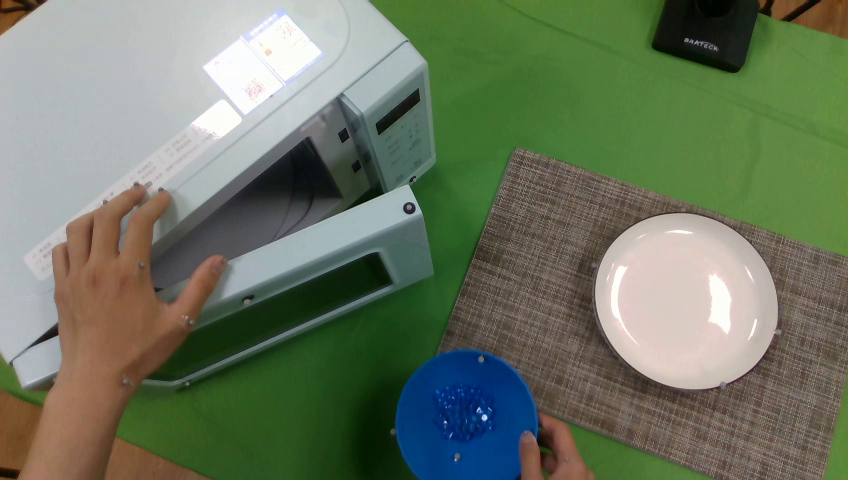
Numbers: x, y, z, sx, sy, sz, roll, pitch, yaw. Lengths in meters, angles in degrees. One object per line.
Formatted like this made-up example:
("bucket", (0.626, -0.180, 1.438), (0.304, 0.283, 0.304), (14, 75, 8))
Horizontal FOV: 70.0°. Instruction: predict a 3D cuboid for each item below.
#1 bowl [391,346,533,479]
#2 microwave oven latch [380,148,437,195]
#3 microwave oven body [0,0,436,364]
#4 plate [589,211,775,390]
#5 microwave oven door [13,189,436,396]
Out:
("bowl", (0.044, 0.197, 0.671), (0.151, 0.077, 0.150), (-2, 74, 7))
("microwave oven latch", (-0.020, -0.092, 0.749), (0.079, 0.029, 0.030), (-40, 77, -7))
("microwave oven body", (-0.256, -0.107, 0.664), (0.441, 0.261, 0.324), (-41, 78, -7))
("plate", (0.296, 0.070, 0.708), (0.207, 0.039, 0.206), (-1, 75, 2))
("microwave oven door", (-0.161, 0.066, 0.610), (0.356, 0.245, 0.039), (-24, 74, -3))
